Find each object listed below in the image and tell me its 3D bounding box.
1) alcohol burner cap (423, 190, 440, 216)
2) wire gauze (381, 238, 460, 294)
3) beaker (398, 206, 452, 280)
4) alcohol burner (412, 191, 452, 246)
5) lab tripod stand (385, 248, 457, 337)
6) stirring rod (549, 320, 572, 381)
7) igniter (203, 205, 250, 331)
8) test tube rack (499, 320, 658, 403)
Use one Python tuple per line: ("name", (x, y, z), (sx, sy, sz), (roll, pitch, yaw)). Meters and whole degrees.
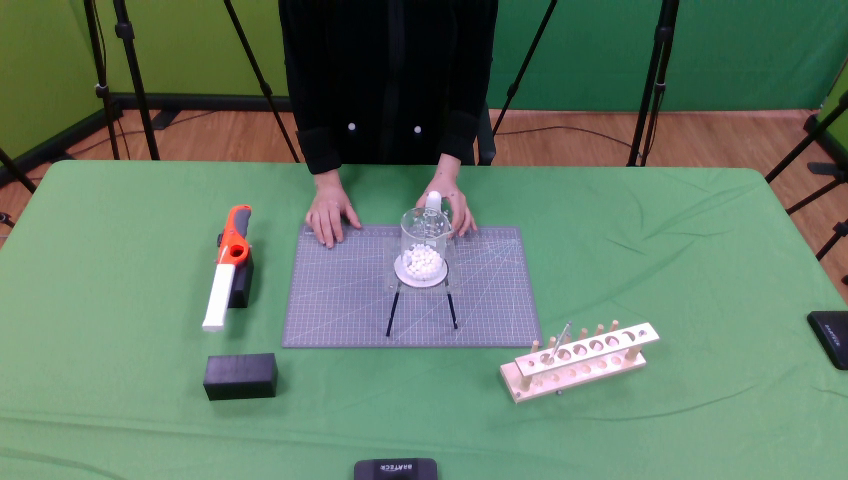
("alcohol burner cap", (0.016, -0.071, 1.139), (0.034, 0.048, 0.033), (3, 43, -3))
("wire gauze", (-0.008, 0.042, 0.985), (0.125, 0.011, 0.120), (-1, 43, -2))
("beaker", (0.000, 0.008, 0.950), (0.084, 0.101, 0.073), (10, 45, 6))
("alcohol burner", (0.015, -0.046, 1.165), (0.078, 0.120, 0.077), (0, 46, 0))
("lab tripod stand", (-0.010, 0.087, 1.032), (0.148, 0.132, 0.147), (1, 45, -1))
("stirring rod", (0.202, 0.167, 0.901), (0.006, 0.177, 0.014), (-17, 54, -11))
("igniter", (-0.345, 0.039, 1.065), (0.057, 0.025, 0.274), (2, 48, -6))
("test tube rack", (0.252, 0.187, 0.994), (0.243, 0.085, 0.066), (-12, 48, -15))
